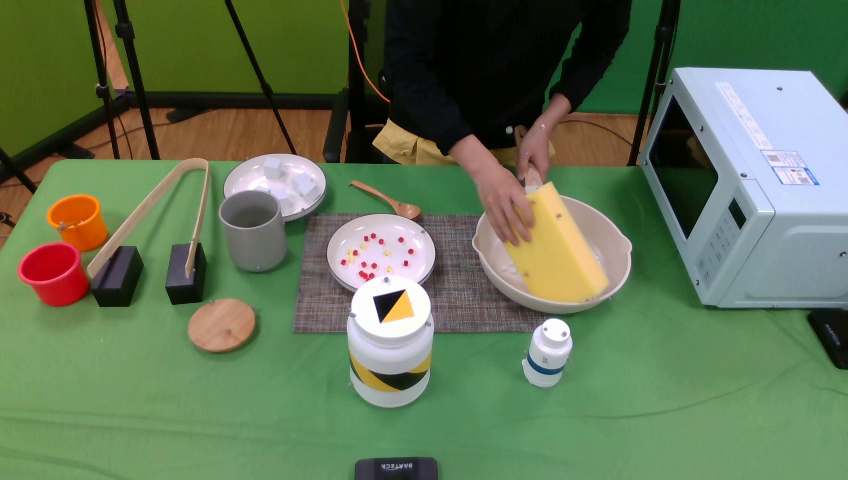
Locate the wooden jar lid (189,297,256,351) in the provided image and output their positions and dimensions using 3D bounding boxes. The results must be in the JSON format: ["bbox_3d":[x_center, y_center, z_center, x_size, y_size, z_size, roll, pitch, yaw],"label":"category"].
[{"bbox_3d":[-0.342,0.145,1.033,0.108,0.021,0.107,2,45,-2],"label":"wooden jar lid"}]

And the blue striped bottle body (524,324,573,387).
[{"bbox_3d":[0.200,0.178,0.970,0.063,0.121,0.062,2,46,-2],"label":"blue striped bottle body"}]

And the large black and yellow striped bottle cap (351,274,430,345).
[{"bbox_3d":[-0.048,0.097,0.867,0.115,0.019,0.114,2,48,-3],"label":"large black and yellow striped bottle cap"}]

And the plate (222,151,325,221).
[{"bbox_3d":[-0.310,-0.106,1.262,0.208,0.039,0.206,2,47,-2],"label":"plate"}]

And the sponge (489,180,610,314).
[{"bbox_3d":[0.219,0.014,1.065,0.061,0.118,0.206,-28,88,-49],"label":"sponge"}]

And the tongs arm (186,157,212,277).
[{"bbox_3d":[-0.445,-0.058,1.168,0.051,0.026,0.382,-5,37,-6],"label":"tongs arm"}]

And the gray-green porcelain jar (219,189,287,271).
[{"bbox_3d":[-0.310,-0.014,1.113,0.106,0.127,0.105,2,46,-2],"label":"gray-green porcelain jar"}]

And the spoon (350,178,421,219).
[{"bbox_3d":[-0.084,-0.093,1.272,0.193,0.022,0.041,31,69,25],"label":"spoon"}]

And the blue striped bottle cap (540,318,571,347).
[{"bbox_3d":[0.203,0.142,0.933,0.044,0.021,0.044,3,49,-3],"label":"blue striped bottle cap"}]

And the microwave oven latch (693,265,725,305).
[{"bbox_3d":[0.523,0.082,1.116,0.030,0.029,0.078,2,46,-1],"label":"microwave oven latch"}]

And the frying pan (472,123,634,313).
[{"bbox_3d":[0.235,-0.060,1.207,0.307,0.103,0.484,1,55,-6],"label":"frying pan"}]

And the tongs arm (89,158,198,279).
[{"bbox_3d":[-0.529,-0.057,1.164,0.028,0.028,0.385,1,36,8],"label":"tongs arm"}]

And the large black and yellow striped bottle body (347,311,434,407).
[{"bbox_3d":[-0.052,0.157,0.929,0.131,0.185,0.130,2,47,-2],"label":"large black and yellow striped bottle body"}]

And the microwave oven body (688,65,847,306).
[{"bbox_3d":[0.669,-0.111,1.176,0.326,0.261,0.439,0,46,-3],"label":"microwave oven body"}]

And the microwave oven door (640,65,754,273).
[{"bbox_3d":[0.523,-0.147,1.193,0.039,0.245,0.353,0,47,-3],"label":"microwave oven door"}]

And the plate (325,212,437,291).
[{"bbox_3d":[-0.080,0.030,1.143,0.209,0.038,0.208,3,46,-3],"label":"plate"}]

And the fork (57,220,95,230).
[{"bbox_3d":[-0.624,-0.027,1.087,0.028,0.207,0.018,-3,92,-17],"label":"fork"}]
